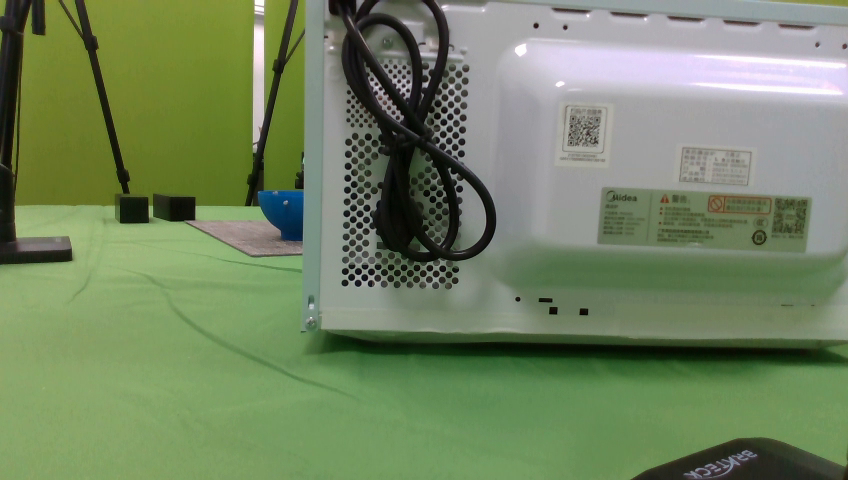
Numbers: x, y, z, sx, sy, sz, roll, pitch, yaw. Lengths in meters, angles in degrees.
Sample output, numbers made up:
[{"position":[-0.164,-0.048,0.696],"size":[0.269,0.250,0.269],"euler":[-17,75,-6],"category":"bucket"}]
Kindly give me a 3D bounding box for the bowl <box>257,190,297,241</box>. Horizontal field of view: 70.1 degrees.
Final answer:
[{"position":[-0.206,-0.041,1.026],"size":[0.151,0.077,0.151],"euler":[2,8,0],"category":"bowl"}]

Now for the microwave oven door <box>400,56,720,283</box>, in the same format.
[{"position":[0.155,-0.077,0.698],"size":[0.356,0.243,0.039],"euler":[2,8,-5],"category":"microwave oven door"}]

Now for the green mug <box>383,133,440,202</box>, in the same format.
[{"position":[-0.022,-0.115,0.991],"size":[0.092,0.105,0.125],"euler":[-2,2,-3],"category":"green mug"}]

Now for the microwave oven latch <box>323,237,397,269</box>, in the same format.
[{"position":[-0.072,0.015,0.688],"size":[0.079,0.029,0.030],"euler":[4,7,9],"category":"microwave oven latch"}]

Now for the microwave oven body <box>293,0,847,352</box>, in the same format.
[{"position":[0.122,-0.055,0.550],"size":[0.442,0.260,0.325],"euler":[3,7,-5],"category":"microwave oven body"}]
